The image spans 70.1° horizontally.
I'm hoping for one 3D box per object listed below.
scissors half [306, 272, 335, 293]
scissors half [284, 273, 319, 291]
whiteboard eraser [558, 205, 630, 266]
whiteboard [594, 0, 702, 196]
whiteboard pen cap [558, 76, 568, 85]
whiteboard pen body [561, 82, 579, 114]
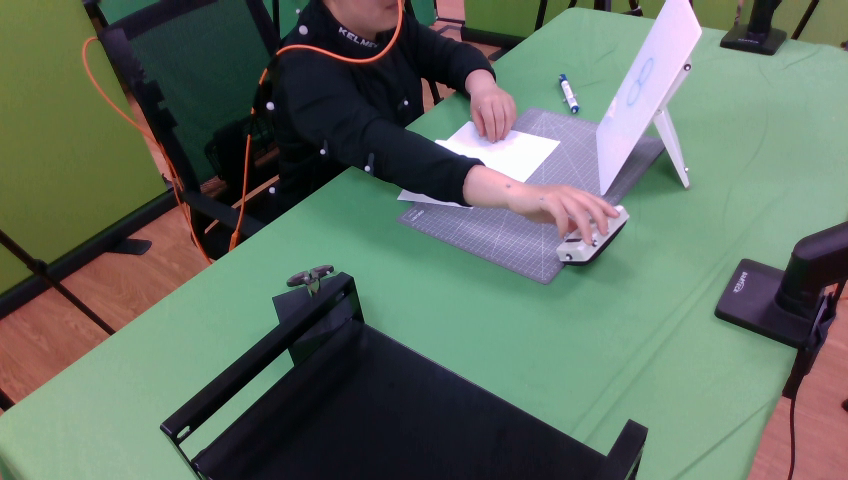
[{"bbox_3d":[-0.152,0.062,0.872,0.040,0.013,0.175,0,4,-4],"label":"scissors half"},{"bbox_3d":[-0.172,0.063,0.868,0.040,0.013,0.174,-7,5,-22],"label":"scissors half"},{"bbox_3d":[0.250,-0.006,0.885,0.113,0.042,0.055,-42,16,-26],"label":"whiteboard eraser"},{"bbox_3d":[0.421,-0.227,1.010,0.144,0.305,0.216,18,42,-2],"label":"whiteboard"},{"bbox_3d":[0.310,-0.350,1.341,0.018,0.018,0.033,-6,41,2],"label":"whiteboard pen cap"},{"bbox_3d":[0.310,-0.311,1.298,0.017,0.017,0.140,-6,41,2],"label":"whiteboard pen body"}]
